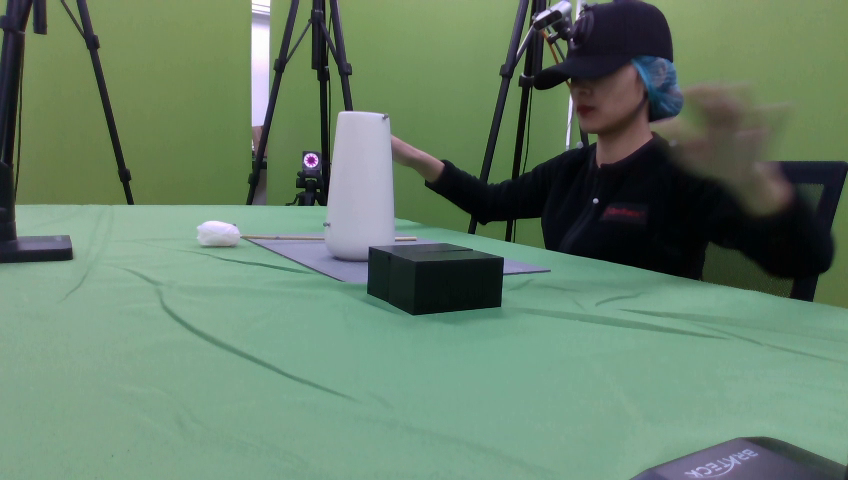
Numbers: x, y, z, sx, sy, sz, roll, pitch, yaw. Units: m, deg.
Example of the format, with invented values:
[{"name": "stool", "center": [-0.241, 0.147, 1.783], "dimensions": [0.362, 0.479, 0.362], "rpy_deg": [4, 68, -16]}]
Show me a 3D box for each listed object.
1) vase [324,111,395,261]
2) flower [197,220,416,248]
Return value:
[{"name": "vase", "center": [-0.087, -0.074, 0.829], "dimensions": [0.098, 0.200, 0.098], "rpy_deg": [2, 9, 0]}, {"name": "flower", "center": [-0.174, -0.001, 0.978], "dimensions": [0.364, 0.038, 0.044], "rpy_deg": [4, -31, -29]}]
